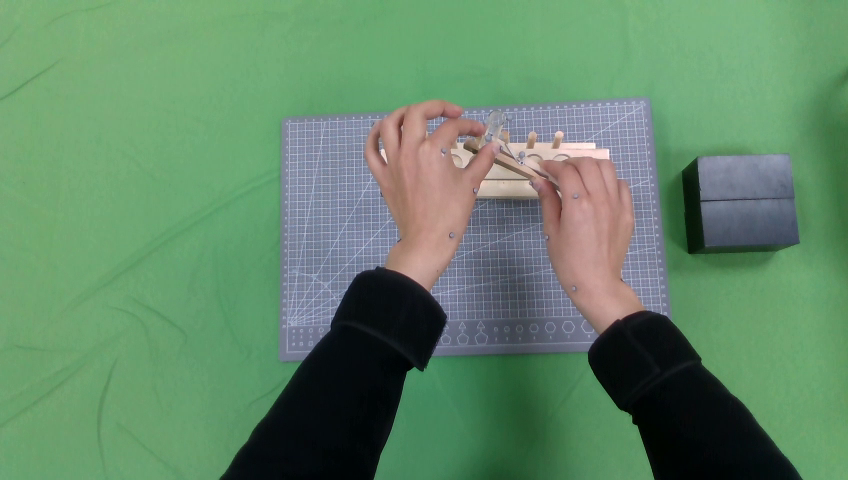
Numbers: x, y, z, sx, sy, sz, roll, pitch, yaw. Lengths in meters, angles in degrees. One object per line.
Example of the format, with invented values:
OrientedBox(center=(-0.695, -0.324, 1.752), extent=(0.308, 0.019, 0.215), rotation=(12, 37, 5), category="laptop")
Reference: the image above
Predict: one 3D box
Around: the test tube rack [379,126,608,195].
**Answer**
OrientedBox(center=(0.076, -0.093, 0.684), extent=(0.242, 0.085, 0.066), rotation=(1, 81, 4), category="test tube rack")

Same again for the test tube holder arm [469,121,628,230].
OrientedBox(center=(0.119, -0.063, 0.587), extent=(0.178, 0.015, 0.013), rotation=(33, 85, 7), category="test tube holder arm")

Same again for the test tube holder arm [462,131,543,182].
OrientedBox(center=(0.078, -0.081, 0.591), extent=(0.087, 0.015, 0.010), rotation=(28, 84, 6), category="test tube holder arm")

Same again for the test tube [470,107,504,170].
OrientedBox(center=(0.060, -0.096, 0.594), extent=(0.017, 0.150, 0.017), rotation=(0, 80, -1), category="test tube")

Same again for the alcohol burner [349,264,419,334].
OrientedBox(center=(-0.045, 0.061, 0.652), extent=(0.078, 0.119, 0.077), rotation=(0, 78, 2), category="alcohol burner")
